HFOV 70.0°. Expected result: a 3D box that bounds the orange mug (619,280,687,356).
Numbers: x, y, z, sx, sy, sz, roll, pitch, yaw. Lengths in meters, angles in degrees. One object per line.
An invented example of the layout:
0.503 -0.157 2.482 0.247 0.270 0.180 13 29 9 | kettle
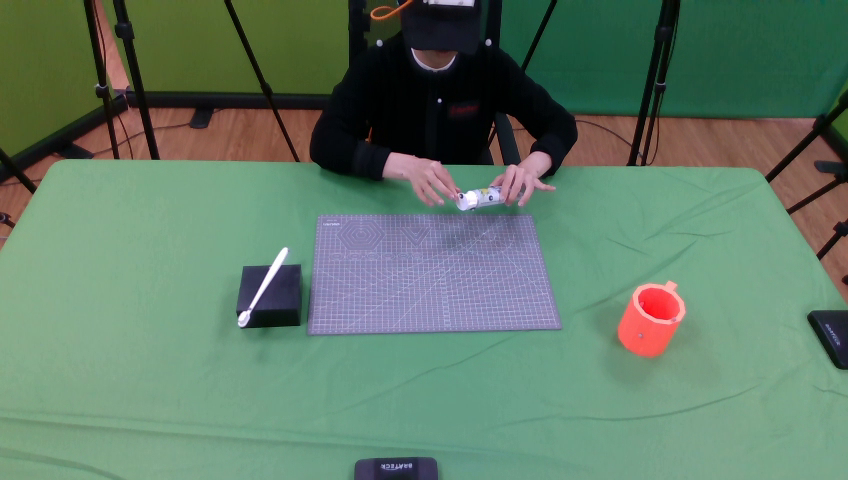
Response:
0.401 0.125 1.045 0.083 0.101 0.126 30 56 24 | orange mug

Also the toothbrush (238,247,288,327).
-0.274 0.075 1.040 0.014 0.017 0.181 10 46 11 | toothbrush

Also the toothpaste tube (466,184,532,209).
0.141 -0.088 1.196 0.165 0.034 0.054 -14 47 -37 | toothpaste tube

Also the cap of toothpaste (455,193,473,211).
0.076 -0.073 1.147 0.037 0.037 0.011 33 44 25 | cap of toothpaste
